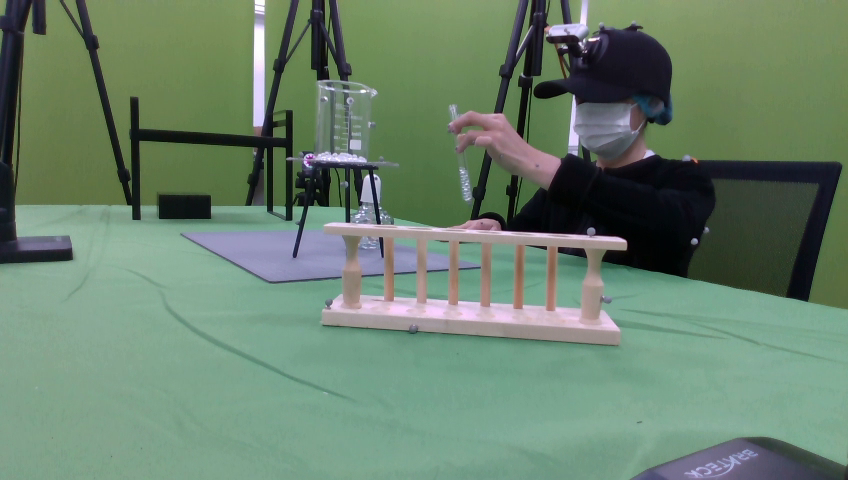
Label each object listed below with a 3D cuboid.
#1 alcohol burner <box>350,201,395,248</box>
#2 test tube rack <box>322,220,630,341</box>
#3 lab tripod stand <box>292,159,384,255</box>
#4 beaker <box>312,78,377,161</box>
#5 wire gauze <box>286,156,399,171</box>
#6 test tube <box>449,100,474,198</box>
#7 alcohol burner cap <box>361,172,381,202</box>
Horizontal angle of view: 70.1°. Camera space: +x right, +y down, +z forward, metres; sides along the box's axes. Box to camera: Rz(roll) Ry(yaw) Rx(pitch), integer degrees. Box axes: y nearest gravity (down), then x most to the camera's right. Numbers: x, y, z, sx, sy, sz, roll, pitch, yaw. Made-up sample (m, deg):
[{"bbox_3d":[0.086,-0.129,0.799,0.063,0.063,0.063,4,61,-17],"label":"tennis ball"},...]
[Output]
[{"bbox_3d":[-0.084,-0.048,0.953,0.078,0.119,0.078,1,6,0],"label":"alcohol burner"},{"bbox_3d":[0.041,0.029,0.512,0.242,0.085,0.067,3,7,5],"label":"test tube rack"},{"bbox_3d":[-0.105,-0.039,0.797,0.148,0.131,0.148,2,5,0],"label":"lab tripod stand"},{"bbox_3d":[-0.103,-0.151,0.775,0.084,0.100,0.074,5,7,14],"label":"beaker"},{"bbox_3d":[-0.101,-0.103,0.788,0.121,0.011,0.125,5,4,6],"label":"wire gauze"},{"bbox_3d":[0.057,-0.137,0.915,0.017,0.150,0.017,-10,0,0],"label":"test tube"},{"bbox_3d":[-0.081,-0.084,0.949,0.034,0.048,0.034,7,7,-1],"label":"alcohol burner cap"}]
